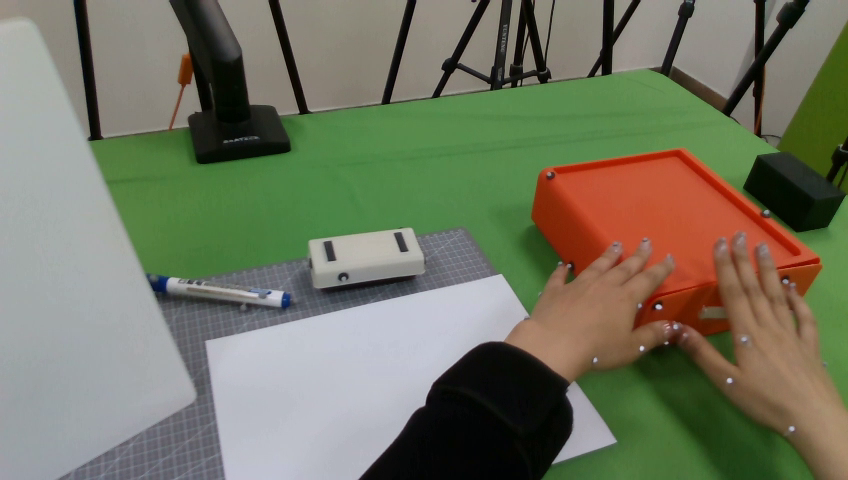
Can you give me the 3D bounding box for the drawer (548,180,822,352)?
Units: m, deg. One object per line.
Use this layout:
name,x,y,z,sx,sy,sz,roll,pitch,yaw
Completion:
drawer,0.254,0.006,0.640,0.195,0.074,0.209,-10,40,-16

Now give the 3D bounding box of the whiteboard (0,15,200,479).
whiteboard,-0.333,0.025,0.426,0.217,0.308,0.142,-28,29,-32

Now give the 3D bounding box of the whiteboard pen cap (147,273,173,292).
whiteboard pen cap,-0.258,0.041,0.582,0.033,0.018,0.018,8,39,-3

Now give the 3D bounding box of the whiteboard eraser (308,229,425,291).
whiteboard eraser,-0.059,0.022,0.615,0.113,0.042,0.055,-8,39,-15

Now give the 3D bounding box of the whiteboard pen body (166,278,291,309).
whiteboard pen body,-0.199,0.050,0.582,0.141,0.017,0.017,8,39,-1

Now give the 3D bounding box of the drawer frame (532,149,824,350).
drawer frame,0.253,0.000,0.644,0.202,0.083,0.211,-11,41,-16
